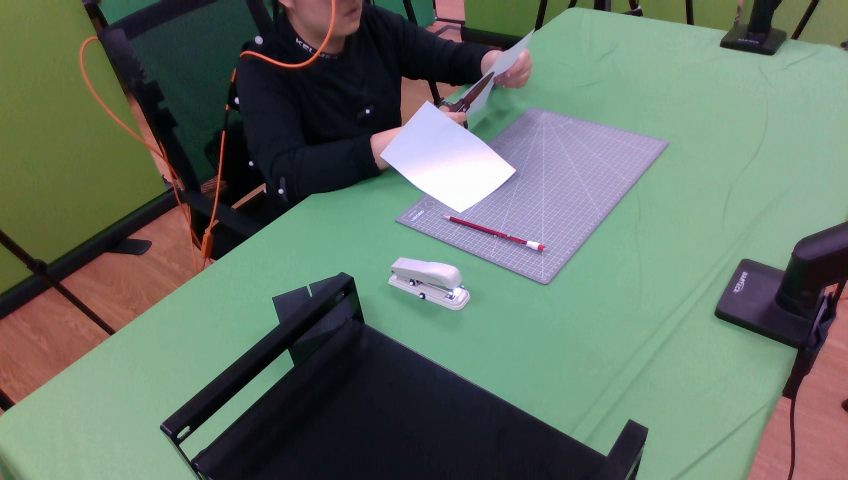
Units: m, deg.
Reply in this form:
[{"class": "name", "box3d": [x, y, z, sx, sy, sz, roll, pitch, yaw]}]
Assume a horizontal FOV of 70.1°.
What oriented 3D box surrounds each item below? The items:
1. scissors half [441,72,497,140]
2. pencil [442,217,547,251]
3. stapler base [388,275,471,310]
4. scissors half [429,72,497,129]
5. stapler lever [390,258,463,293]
[{"class": "scissors half", "box3d": [0.083, -0.239, 1.089, 0.040, 0.175, 0.013, 33, 47, -7]}, {"class": "pencil", "box3d": [0.110, -0.012, 0.980, 0.192, 0.012, 0.012, 18, 46, 30]}, {"class": "stapler base", "box3d": [0.007, 0.066, 0.897, 0.129, 0.024, 0.041, 17, 43, 29]}, {"class": "scissors half", "box3d": [0.069, -0.252, 1.085, 0.174, 0.040, 0.013, -29, 19, 42]}, {"class": "stapler lever", "box3d": [0.003, 0.046, 0.881, 0.117, 0.040, 0.027, 17, 44, 29]}]
